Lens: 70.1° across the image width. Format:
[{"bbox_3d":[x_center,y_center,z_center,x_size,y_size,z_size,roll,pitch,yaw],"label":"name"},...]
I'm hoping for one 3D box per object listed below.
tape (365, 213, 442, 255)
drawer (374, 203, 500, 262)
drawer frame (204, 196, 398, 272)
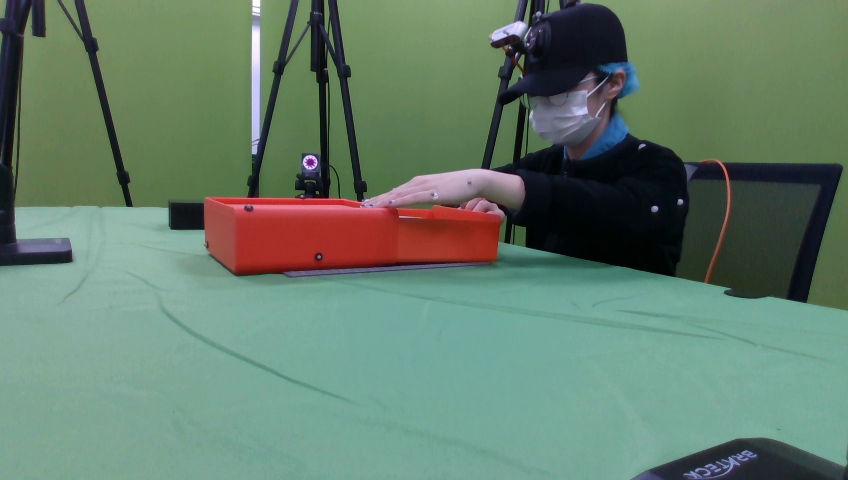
[{"bbox_3d":[-0.031,-0.011,0.908,0.117,0.052,0.117,4,6,0],"label":"tape"},{"bbox_3d":[-0.026,-0.016,0.912,0.213,0.073,0.193,-2,9,-31],"label":"drawer"},{"bbox_3d":[-0.172,-0.016,0.828,0.215,0.082,0.200,-3,9,-30],"label":"drawer frame"}]
